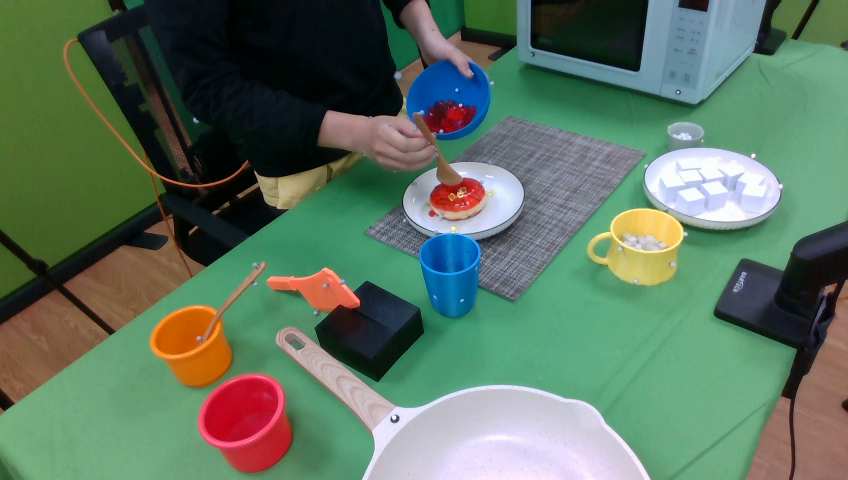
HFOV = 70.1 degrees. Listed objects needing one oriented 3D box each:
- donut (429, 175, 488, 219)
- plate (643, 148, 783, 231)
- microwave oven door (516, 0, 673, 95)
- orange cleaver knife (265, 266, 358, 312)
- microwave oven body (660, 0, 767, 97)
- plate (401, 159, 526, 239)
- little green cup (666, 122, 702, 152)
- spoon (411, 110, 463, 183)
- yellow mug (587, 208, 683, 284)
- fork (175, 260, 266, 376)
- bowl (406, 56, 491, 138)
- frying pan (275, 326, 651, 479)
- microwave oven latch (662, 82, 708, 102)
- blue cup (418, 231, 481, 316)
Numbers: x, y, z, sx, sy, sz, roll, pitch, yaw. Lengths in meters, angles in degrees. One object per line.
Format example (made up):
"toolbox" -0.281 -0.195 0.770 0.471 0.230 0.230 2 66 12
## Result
"donut" 0.058 -0.075 1.015 0.099 0.048 0.098 -6 38 5
"plate" 0.464 -0.080 0.986 0.207 0.039 0.206 -4 40 4
"microwave oven door" 0.344 -0.458 1.256 0.353 0.245 0.039 26 51 33
"orange cleaver knife" -0.164 0.073 0.864 0.210 0.077 0.012 -6 30 50
"microwave oven body" 0.473 -0.516 1.313 0.438 0.261 0.327 26 51 34
"plate" 0.067 -0.065 1.019 0.209 0.038 0.208 -4 40 4
"little green cup" 0.471 -0.184 1.102 0.061 0.039 0.061 -5 41 5
"spoon" 0.016 -0.132 0.882 0.041 0.195 0.021 0 63 21
"yellow mug" 0.305 0.009 0.884 0.131 0.064 0.099 -4 41 5
"fork" -0.268 0.103 0.792 0.207 0.019 0.028 -51 41 16
"bowl" 0.050 -0.235 1.057 0.151 0.077 0.151 -6 69 16
"frying pan" 0.003 0.229 0.641 0.484 0.103 0.308 34 54 28
"microwave oven latch" 0.518 -0.298 1.202 0.078 0.029 0.030 28 53 35
"blue cup" 0.040 0.053 0.843 0.092 0.100 0.092 -4 43 4
